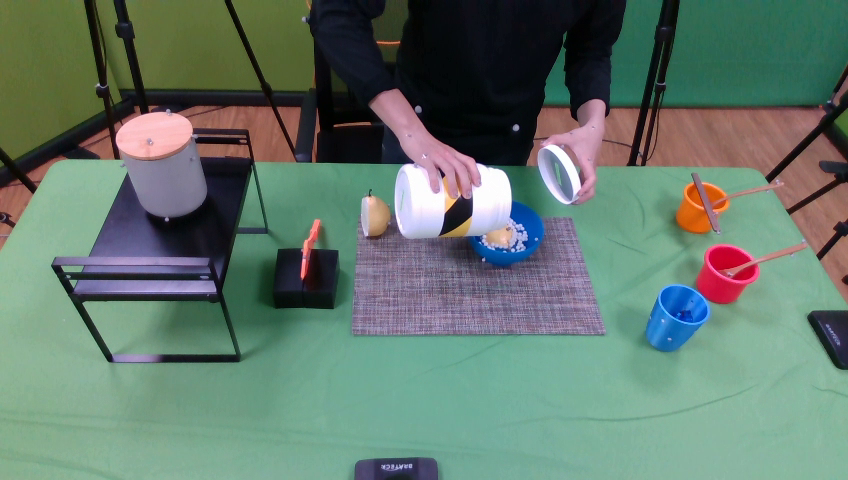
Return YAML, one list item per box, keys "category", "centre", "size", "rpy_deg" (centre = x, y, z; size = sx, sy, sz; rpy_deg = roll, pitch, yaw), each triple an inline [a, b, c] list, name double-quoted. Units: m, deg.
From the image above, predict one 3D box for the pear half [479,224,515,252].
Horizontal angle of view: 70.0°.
- category: "pear half"
  centre: [0.144, -0.013, 1.166]
  size: [0.070, 0.031, 0.087]
  rpy_deg: [-20, 55, -22]

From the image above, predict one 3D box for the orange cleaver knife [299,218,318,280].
- category: "orange cleaver knife"
  centre: [-0.214, 0.013, 1.125]
  size: [0.012, 0.077, 0.210]
  rpy_deg: [6, 17, -5]

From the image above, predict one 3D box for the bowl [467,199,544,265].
- category: "bowl"
  centre: [0.150, -0.004, 1.167]
  size: [0.151, 0.077, 0.150]
  rpy_deg: [2, 46, -2]

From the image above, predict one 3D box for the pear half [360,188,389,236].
- category: "pear half"
  centre: [-0.096, -0.060, 1.181]
  size: [0.056, 0.110, 0.076]
  rpy_deg: [-13, 52, -17]

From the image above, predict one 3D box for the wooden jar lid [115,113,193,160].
- category: "wooden jar lid"
  centre: [-0.399, -0.151, 0.900]
  size: [0.108, 0.021, 0.107]
  rpy_deg: [3, 46, -3]

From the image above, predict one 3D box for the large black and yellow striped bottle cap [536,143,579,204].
- category: "large black and yellow striped bottle cap"
  centre: [0.243, -0.122, 1.109]
  size: [0.019, 0.115, 0.114]
  rpy_deg: [-26, 52, -9]

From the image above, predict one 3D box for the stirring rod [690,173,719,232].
- category: "stirring rod"
  centre: [0.566, -0.080, 1.225]
  size: [0.014, 0.006, 0.175]
  rpy_deg: [2, 46, 2]

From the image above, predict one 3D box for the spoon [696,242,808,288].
- category: "spoon"
  centre: [0.601, 0.045, 1.116]
  size: [0.194, 0.022, 0.041]
  rpy_deg: [-29, 35, 30]

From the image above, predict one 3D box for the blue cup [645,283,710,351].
- category: "blue cup"
  centre: [0.426, 0.139, 1.041]
  size: [0.093, 0.100, 0.092]
  rpy_deg: [4, 46, -4]

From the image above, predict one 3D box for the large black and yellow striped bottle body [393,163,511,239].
- category: "large black and yellow striped bottle body"
  centre: [0.048, -0.070, 1.067]
  size: [0.184, 0.131, 0.130]
  rpy_deg: [-3, 46, -16]

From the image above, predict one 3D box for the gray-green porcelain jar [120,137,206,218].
- category: "gray-green porcelain jar"
  centre: [-0.403, -0.106, 0.946]
  size: [0.106, 0.127, 0.105]
  rpy_deg: [3, 46, -2]

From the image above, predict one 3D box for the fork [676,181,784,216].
- category: "fork"
  centre: [0.618, -0.083, 1.235]
  size: [0.207, 0.019, 0.028]
  rpy_deg: [-23, 20, 38]
